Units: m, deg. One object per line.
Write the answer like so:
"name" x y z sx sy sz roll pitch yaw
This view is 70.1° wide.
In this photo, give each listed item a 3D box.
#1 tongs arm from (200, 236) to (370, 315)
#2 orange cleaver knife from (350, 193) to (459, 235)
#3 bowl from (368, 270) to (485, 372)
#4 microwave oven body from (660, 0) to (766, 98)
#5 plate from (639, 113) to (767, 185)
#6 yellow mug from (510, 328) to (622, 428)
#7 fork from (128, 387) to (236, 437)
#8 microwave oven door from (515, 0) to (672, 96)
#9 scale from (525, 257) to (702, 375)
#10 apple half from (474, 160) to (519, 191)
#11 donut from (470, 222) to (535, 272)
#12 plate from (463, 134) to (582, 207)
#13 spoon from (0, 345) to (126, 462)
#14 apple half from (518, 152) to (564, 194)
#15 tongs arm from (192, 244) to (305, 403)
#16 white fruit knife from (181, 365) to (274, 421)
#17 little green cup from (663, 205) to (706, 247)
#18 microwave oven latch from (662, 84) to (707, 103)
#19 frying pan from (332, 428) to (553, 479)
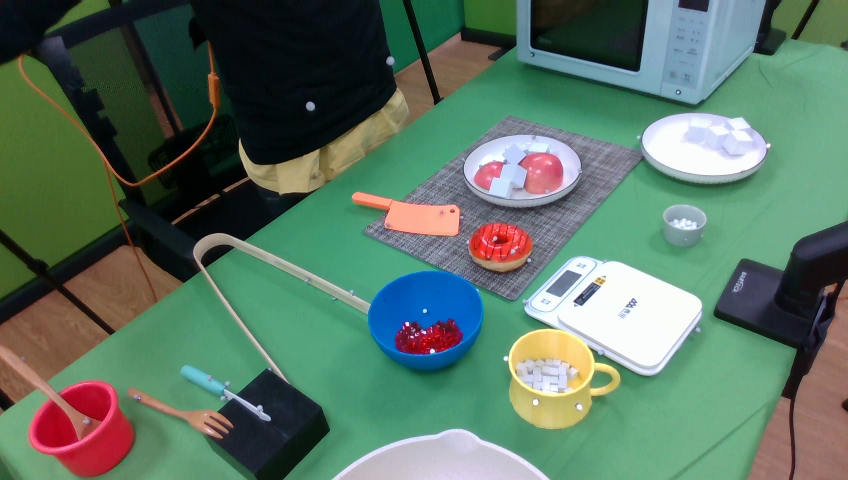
"tongs arm" -0.209 0.062 0.924 0.381 0.026 0.051 23 53 32
"orange cleaver knife" -0.036 -0.044 1.028 0.210 0.012 0.077 10 48 18
"bowl" 0.007 0.118 0.791 0.151 0.077 0.150 -4 40 4
"microwave oven body" 0.472 -0.513 1.317 0.438 0.261 0.327 26 51 34
"plate" 0.489 -0.157 1.074 0.207 0.039 0.206 -4 40 4
"yellow mug" 0.168 0.164 0.722 0.130 0.064 0.099 0 40 8
"fork" -0.305 0.207 0.744 0.206 0.019 0.028 3 40 36
"microwave oven door" 0.343 -0.454 1.259 0.353 0.245 0.039 26 51 33
"scale" 0.254 0.091 0.821 0.199 0.032 0.149 28 51 35
"apple half" 0.130 -0.120 1.068 0.081 0.033 0.081 -3 37 3
"donut" 0.119 0.009 0.923 0.099 0.048 0.098 -4 38 3
"plate" 0.173 -0.119 1.070 0.209 0.038 0.208 -4 40 4
"spoon" -0.434 0.192 0.720 0.194 0.021 0.042 47 55 -7
"apple half" 0.204 -0.124 1.048 0.075 0.053 0.080 -7 41 -3
"tongs arm" -0.267 0.109 0.884 0.028 0.028 0.384 -36 47 -18
"white fruit knife" -0.245 0.187 0.747 0.205 0.027 0.016 9 41 40
"little green cup" 0.396 -0.020 0.926 0.061 0.039 0.061 -4 40 4
"microwave oven latch" 0.517 -0.296 1.204 0.078 0.029 0.030 27 52 35
"frying pan" -0.089 0.306 0.564 0.487 0.103 0.306 10 41 7
